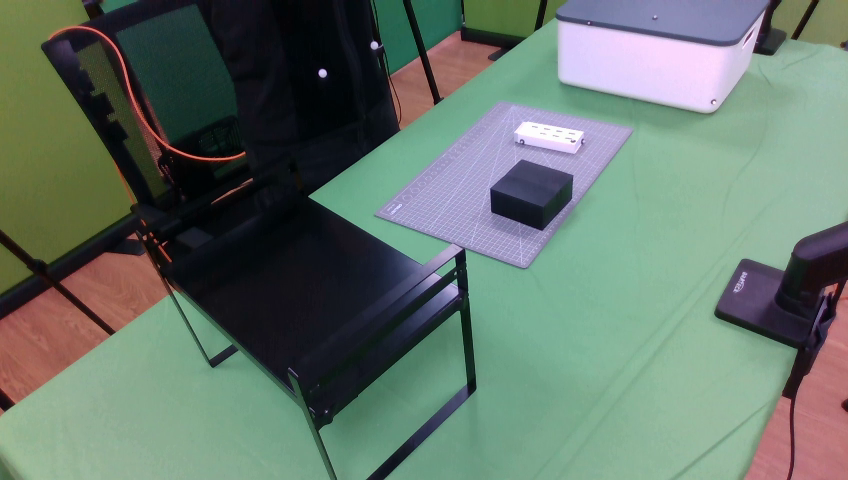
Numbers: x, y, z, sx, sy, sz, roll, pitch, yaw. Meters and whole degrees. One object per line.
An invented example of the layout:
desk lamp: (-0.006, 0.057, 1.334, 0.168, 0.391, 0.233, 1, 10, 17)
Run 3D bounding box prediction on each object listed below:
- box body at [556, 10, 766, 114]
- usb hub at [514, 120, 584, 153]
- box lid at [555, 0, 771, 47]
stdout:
box body: (0.491, -0.419, 1.283, 0.361, 0.161, 0.255, 22, 49, 30)
usb hub: (0.240, -0.200, 1.165, 0.124, 0.025, 0.049, 17, 46, 26)
box lid: (0.481, -0.475, 1.236, 0.368, 0.015, 0.264, 22, 49, 30)
